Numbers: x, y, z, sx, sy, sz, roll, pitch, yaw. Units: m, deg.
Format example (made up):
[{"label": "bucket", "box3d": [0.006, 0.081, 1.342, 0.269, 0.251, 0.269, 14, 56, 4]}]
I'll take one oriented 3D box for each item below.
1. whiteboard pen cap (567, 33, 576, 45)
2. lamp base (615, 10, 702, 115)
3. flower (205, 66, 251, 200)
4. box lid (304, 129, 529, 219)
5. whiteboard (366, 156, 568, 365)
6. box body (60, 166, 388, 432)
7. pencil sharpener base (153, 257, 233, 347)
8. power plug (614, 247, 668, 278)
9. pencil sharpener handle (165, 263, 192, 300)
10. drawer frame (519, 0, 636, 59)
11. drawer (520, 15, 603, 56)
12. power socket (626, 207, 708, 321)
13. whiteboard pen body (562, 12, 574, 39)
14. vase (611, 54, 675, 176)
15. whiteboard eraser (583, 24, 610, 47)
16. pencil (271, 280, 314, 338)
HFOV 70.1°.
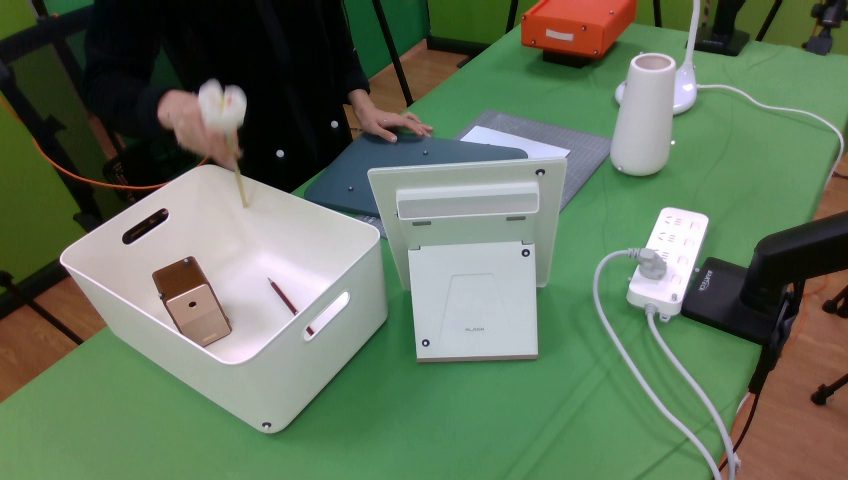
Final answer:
[{"label": "whiteboard pen cap", "box3d": [0.339, -0.463, 1.390, 0.018, 0.018, 0.033, -2, 44, 5]}, {"label": "lamp base", "box3d": [0.484, -0.364, 1.211, 0.180, 0.181, 0.159, -15, 41, -14]}, {"label": "flower", "box3d": [-0.238, -0.111, 0.762, 0.044, 0.361, 0.038, -1, 75, -16]}, {"label": "box lid", "box3d": [-0.010, -0.117, 1.122, 0.369, 0.015, 0.263, 11, 44, 22]}, {"label": "whiteboard", "box3d": [0.059, 0.050, 0.738, 0.217, 0.307, 0.143, -2, 60, 5]}, {"label": "box body", "box3d": [-0.256, 0.065, 0.827, 0.361, 0.161, 0.255, 20, 48, 29]}, {"label": "pencil sharpener base", "box3d": [-0.322, 0.088, 0.843, 0.061, 0.107, 0.076, -27, 44, -20]}, {"label": "power plug", "box3d": [0.306, 0.031, 0.851, 0.072, 0.053, 0.035, 24, 49, 33]}, {"label": "pencil sharpener handle", "box3d": [-0.353, 0.054, 0.867, 0.036, 0.068, 0.030, -18, 40, -28]}, {"label": "drawer frame", "box3d": [0.362, -0.518, 1.423, 0.200, 0.083, 0.214, 19, 48, 29]}, {"label": "drawer", "box3d": [0.359, -0.517, 1.416, 0.193, 0.073, 0.212, 20, 47, 29]}, {"label": "power socket", "box3d": [0.359, 0.025, 0.886, 0.072, 0.033, 0.227, 16, 46, 26]}, {"label": "whiteboard pen body", "box3d": [0.341, -0.506, 1.430, 0.017, 0.017, 0.140, -2, 42, 6]}, {"label": "vase", "box3d": [0.377, -0.209, 1.031, 0.098, 0.201, 0.097, -3, 40, 3]}, {"label": "whiteboard eraser", "box3d": [0.407, -0.479, 1.423, 0.055, 0.042, 0.113, -3, 9, 20]}, {"label": "pencil", "box3d": [-0.187, 0.106, 0.880, 0.012, 0.012, 0.192, -27, 41, -22]}]
